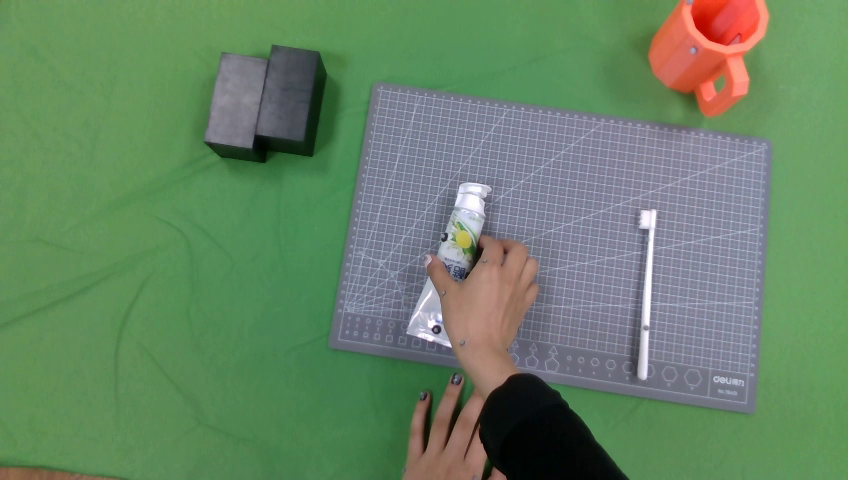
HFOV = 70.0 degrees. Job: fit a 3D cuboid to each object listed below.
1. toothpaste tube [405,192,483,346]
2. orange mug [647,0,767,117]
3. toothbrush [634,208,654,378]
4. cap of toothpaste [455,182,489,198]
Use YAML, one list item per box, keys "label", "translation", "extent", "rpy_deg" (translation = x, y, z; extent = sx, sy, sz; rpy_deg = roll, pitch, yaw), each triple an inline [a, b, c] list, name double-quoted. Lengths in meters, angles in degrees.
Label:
- label: "toothpaste tube"
  translation: [0.027, 0.025, 0.640]
  extent: [0.055, 0.034, 0.165]
  rpy_deg: [15, 86, 9]
- label: "orange mug"
  translation: [0.302, -0.200, 0.643]
  extent: [0.083, 0.101, 0.125]
  rpy_deg: [-13, 77, -2]
- label: "toothbrush"
  translation: [0.232, 0.054, 0.643]
  extent: [0.016, 0.014, 0.181]
  rpy_deg: [6, 81, 4]
- label: "cap of toothpaste"
  translation: [0.051, -0.053, 0.645]
  extent: [0.037, 0.037, 0.011]
  rpy_deg: [6, 79, 0]
